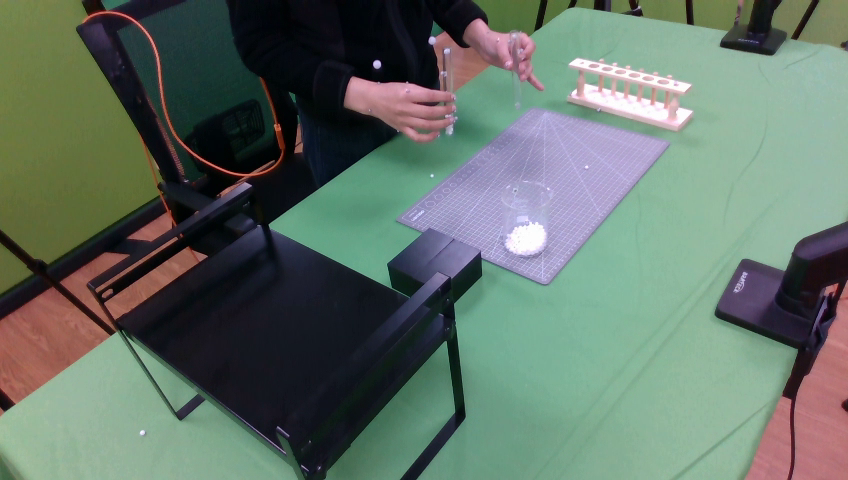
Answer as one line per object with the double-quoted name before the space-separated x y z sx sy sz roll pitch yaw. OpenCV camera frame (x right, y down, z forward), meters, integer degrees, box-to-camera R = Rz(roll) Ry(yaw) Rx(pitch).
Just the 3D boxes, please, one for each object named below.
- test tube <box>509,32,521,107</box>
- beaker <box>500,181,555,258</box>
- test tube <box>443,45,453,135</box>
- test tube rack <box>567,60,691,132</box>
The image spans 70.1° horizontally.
"test tube" 0.166 -0.307 1.101 0.017 0.151 0.017 -6 46 7
"beaker" 0.158 -0.030 0.922 0.084 0.100 0.073 -13 41 -8
"test tube" 0.039 -0.242 0.988 0.017 0.151 0.017 -1 33 1
"test tube rack" 0.411 -0.299 1.217 0.240 0.085 0.067 26 51 34
